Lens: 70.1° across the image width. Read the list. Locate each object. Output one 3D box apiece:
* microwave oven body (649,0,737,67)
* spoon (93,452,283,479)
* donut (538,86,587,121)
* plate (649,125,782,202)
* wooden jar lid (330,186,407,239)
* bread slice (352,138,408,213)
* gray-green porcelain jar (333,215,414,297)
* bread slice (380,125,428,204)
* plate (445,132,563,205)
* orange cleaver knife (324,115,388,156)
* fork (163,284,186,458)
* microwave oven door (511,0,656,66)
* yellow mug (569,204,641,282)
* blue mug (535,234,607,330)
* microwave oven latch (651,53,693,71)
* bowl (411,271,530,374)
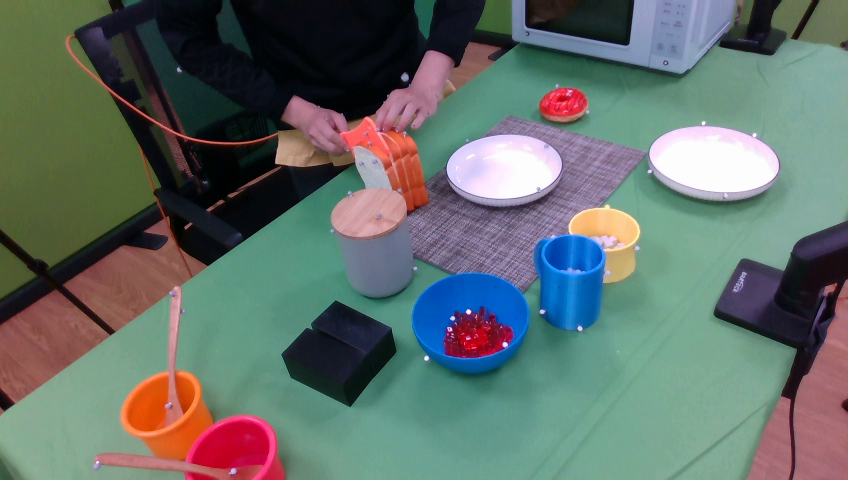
[{"bbox_3d":[0.475,-0.602,1.411,0.438,0.261,0.327,23,50,32],"label":"microwave oven body"},{"bbox_3d":[-0.240,0.239,0.632,0.195,0.021,0.041,26,33,-32],"label":"spoon"},{"bbox_3d":[0.283,-0.280,1.239,0.099,0.048,0.098,-5,42,5],"label":"donut"},{"bbox_3d":[0.493,-0.127,1.036,0.207,0.039,0.206,-4,40,4],"label":"plate"},{"bbox_3d":[-0.077,-0.035,0.846,0.108,0.021,0.108,-5,42,5],"label":"wooden jar lid"},{"bbox_3d":[-0.080,-0.111,1.027,0.019,0.132,0.104,-39,45,-24],"label":"bread slice"},{"bbox_3d":[-0.071,0.012,0.887,0.106,0.127,0.105,-4,41,4],"label":"gray-green porcelain jar"},{"bbox_3d":[-0.038,-0.133,1.048,0.018,0.135,0.106,-32,47,-27],"label":"bread slice"},{"bbox_3d":[0.142,-0.124,1.076,0.209,0.038,0.208,-4,41,4],"label":"plate"},{"bbox_3d":[-0.120,-0.169,1.049,0.012,0.077,0.210,-32,18,-26],"label":"orange cleaver knife"},{"bbox_3d":[-0.302,0.157,0.733,0.028,0.019,0.207,-3,84,15],"label":"fork"},{"bbox_3d":[0.351,-0.539,1.349,0.353,0.245,0.039,24,50,31],"label":"microwave oven door"},{"bbox_3d":[0.268,-0.005,0.904,0.099,0.064,0.130,7,41,15],"label":"yellow mug"},{"bbox_3d":[0.191,0.048,0.824,0.082,0.106,0.115,-26,44,-20],"label":"blue mug"},{"bbox_3d":[0.532,-0.386,1.301,0.078,0.029,0.030,27,52,34],"label":"microwave oven latch"},{"bbox_3d":[0.062,0.120,0.780,0.151,0.077,0.150,-4,40,4],"label":"bowl"}]
